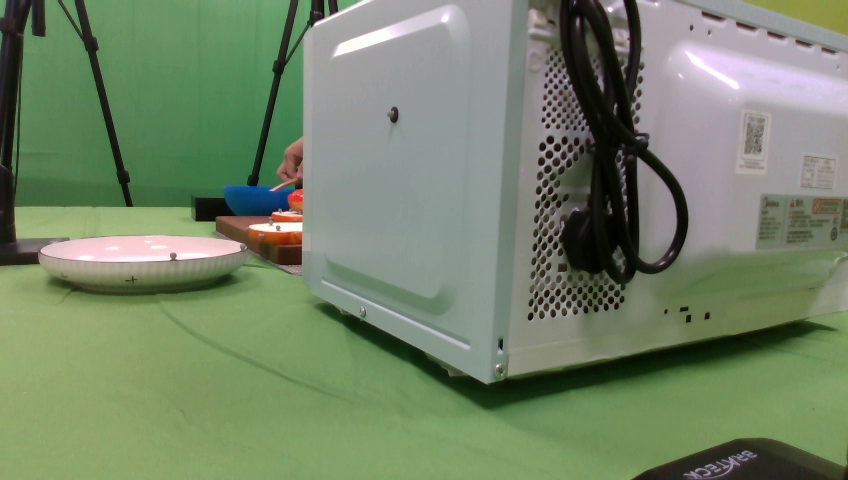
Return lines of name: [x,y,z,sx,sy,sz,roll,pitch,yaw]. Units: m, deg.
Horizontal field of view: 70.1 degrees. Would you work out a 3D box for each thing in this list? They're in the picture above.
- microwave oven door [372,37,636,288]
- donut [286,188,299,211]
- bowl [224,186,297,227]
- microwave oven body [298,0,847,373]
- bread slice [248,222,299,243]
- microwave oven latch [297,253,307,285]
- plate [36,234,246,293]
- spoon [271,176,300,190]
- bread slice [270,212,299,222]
microwave oven door: [0.109,-0.080,0.686,0.358,0.243,0.039,-2,9,-33]
donut: [-0.190,-0.068,1.055,0.099,0.048,0.099,3,7,0]
bowl: [-0.330,-0.068,1.230,0.151,0.077,0.151,3,7,0]
microwave oven body: [0.151,-0.055,0.542,0.444,0.260,0.324,-2,7,-33]
bread slice: [-0.174,-0.012,0.844,0.135,0.018,0.106,-6,10,-44]
microwave oven latch: [-0.082,0.027,0.582,0.079,0.029,0.030,-1,7,-32]
plate: [-0.305,0.026,0.668,0.208,0.039,0.207,2,7,0]
spoon: [-0.298,-0.111,1.269,0.194,0.022,0.041,-31,30,-21]
bread slice: [-0.197,-0.038,1.051,0.132,0.019,0.104,0,6,-31]
